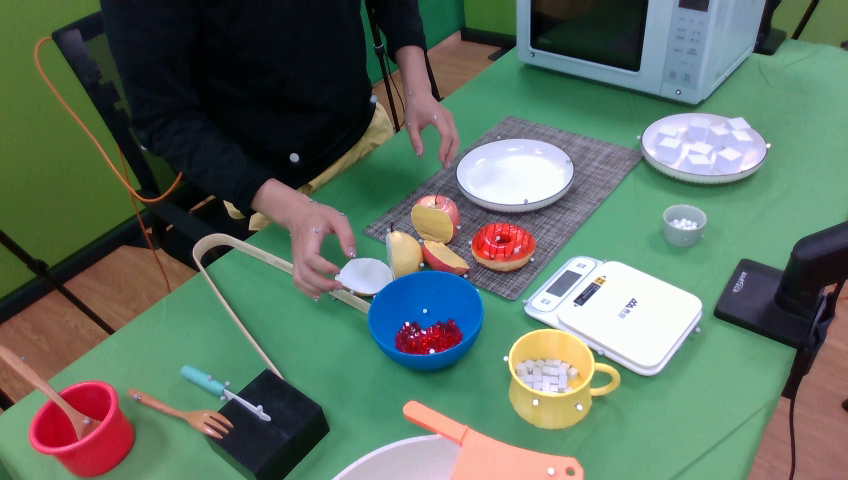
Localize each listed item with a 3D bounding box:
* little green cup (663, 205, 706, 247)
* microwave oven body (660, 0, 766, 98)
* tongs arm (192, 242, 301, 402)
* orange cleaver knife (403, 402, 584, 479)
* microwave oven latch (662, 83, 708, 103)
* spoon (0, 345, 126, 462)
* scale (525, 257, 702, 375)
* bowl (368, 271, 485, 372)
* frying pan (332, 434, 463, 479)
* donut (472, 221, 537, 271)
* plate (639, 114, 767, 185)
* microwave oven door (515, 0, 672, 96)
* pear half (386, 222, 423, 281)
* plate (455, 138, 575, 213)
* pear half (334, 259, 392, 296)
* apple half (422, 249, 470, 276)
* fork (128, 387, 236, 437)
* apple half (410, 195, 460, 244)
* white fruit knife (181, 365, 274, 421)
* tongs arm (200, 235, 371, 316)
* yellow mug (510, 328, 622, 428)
[{"bbox_3d":[0.396,-0.020,0.926,0.061,0.039,0.061,-4,40,4],"label":"little green cup"},{"bbox_3d":[0.472,-0.513,1.317,0.438,0.261,0.327,26,51,34],"label":"microwave oven body"},{"bbox_3d":[-0.269,0.106,0.881,0.028,0.028,0.384,-34,45,-19],"label":"tongs arm"},{"bbox_3d":[0.062,0.222,0.609,0.210,0.012,0.077,15,48,25],"label":"orange cleaver knife"},{"bbox_3d":[0.517,-0.296,1.204,0.078,0.029,0.030,27,52,35],"label":"microwave oven latch"},{"bbox_3d":[-0.434,0.192,0.720,0.194,0.021,0.042,47,53,-7],"label":"spoon"},{"bbox_3d":[0.254,0.091,0.821,0.199,0.032,0.149,28,51,35],"label":"scale"},{"bbox_3d":[0.007,0.119,0.791,0.151,0.077,0.150,-5,39,4],"label":"bowl"},{"bbox_3d":[-0.089,0.306,0.564,0.487,0.103,0.306,10,41,7],"label":"frying pan"},{"bbox_3d":[0.123,0.008,0.923,0.099,0.048,0.098,-3,38,3],"label":"donut"},{"bbox_3d":[0.489,-0.157,1.074,0.207,0.039,0.206,-4,40,4],"label":"plate"},{"bbox_3d":[0.343,-0.455,1.259,0.353,0.245,0.039,26,51,33],"label":"microwave oven door"},{"bbox_3d":[-0.029,0.013,0.897,0.056,0.110,0.076,-17,46,-11],"label":"pear half"},{"bbox_3d":[0.159,-0.111,1.063,0.209,0.038,0.208,-4,40,4],"label":"plate"},{"bbox_3d":[-0.092,0.062,0.906,0.088,0.031,0.070,-9,42,-23],"label":"pear half"},{"bbox_3d":[0.024,0.039,0.911,0.081,0.033,0.081,21,3,-1],"label":"apple half"},{"bbox_3d":[-0.305,0.207,0.744,0.206,0.019,0.028,3,40,36],"label":"fork"},{"bbox_3d":[0.024,-0.037,0.970,0.080,0.075,0.053,12,40,28],"label":"apple half"},{"bbox_3d":[-0.245,0.187,0.747,0.205,0.027,0.016,9,42,40],"label":"white fruit knife"},{"bbox_3d":[-0.209,0.061,0.924,0.381,0.026,0.051,23,51,33],"label":"tongs arm"},{"bbox_3d":[0.169,0.164,0.722,0.130,0.064,0.099,0,40,8],"label":"yellow mug"}]
